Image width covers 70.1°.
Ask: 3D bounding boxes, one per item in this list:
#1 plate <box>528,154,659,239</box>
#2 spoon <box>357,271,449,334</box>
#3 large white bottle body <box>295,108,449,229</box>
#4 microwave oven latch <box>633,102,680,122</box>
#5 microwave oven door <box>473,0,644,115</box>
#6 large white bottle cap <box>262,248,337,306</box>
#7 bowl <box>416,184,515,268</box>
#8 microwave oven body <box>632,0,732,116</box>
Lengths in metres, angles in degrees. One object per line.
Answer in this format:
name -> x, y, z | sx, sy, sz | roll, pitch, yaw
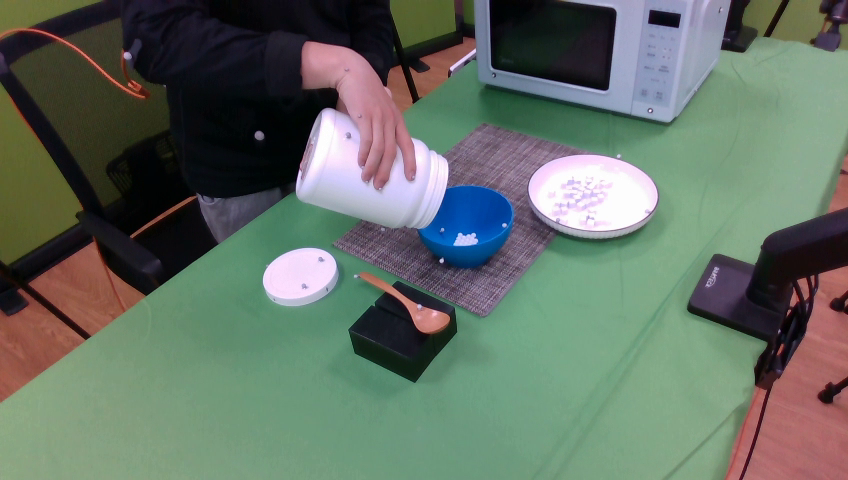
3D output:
plate -> 0.274, -0.069, 0.993 | 0.209, 0.038, 0.208 | -2, 42, 2
spoon -> -0.034, 0.078, 0.812 | 0.042, 0.022, 0.192 | -34, 42, -24
large white bottle body -> -0.071, -0.091, 0.832 | 0.186, 0.130, 0.130 | 16, 36, -19
microwave oven latch -> 0.443, -0.249, 1.157 | 0.078, 0.029, 0.030 | 21, 49, 30
microwave oven door -> 0.257, -0.396, 1.199 | 0.353, 0.245, 0.039 | 21, 48, 29
large white bottle cap -> -0.193, 0.056, 0.934 | 0.115, 0.018, 0.114 | -4, 41, 4
bowl -> 0.063, -0.011, 0.922 | 0.151, 0.077, 0.150 | -4, 40, 4
microwave oven body -> 0.377, -0.463, 1.267 | 0.438, 0.261, 0.327 | 21, 49, 30
